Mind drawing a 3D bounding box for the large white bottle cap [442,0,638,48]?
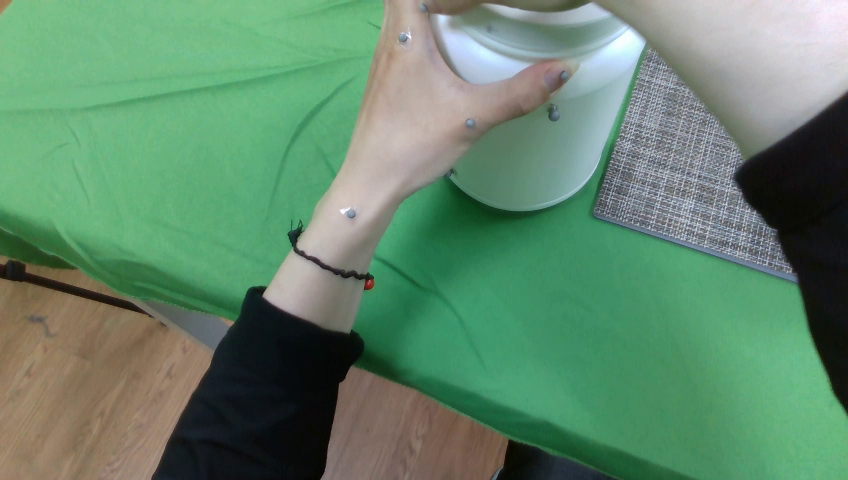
[{"bbox_3d":[0.061,-0.152,0.323,0.115,0.018,0.114,-1,66,2],"label":"large white bottle cap"}]

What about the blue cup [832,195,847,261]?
[{"bbox_3d":[0.320,-0.022,0.389,0.092,0.101,0.092,-1,64,3],"label":"blue cup"}]

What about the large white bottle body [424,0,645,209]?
[{"bbox_3d":[0.066,-0.117,0.400,0.130,0.186,0.129,-1,66,2],"label":"large white bottle body"}]
